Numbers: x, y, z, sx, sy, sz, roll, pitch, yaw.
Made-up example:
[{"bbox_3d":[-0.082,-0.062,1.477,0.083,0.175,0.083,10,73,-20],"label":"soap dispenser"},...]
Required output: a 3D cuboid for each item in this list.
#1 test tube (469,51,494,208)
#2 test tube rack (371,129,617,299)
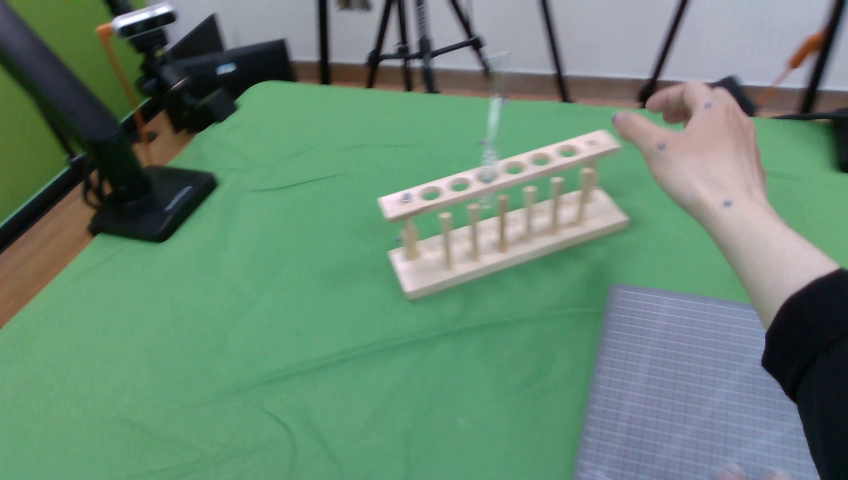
[{"bbox_3d":[0.055,-0.106,0.590,0.017,0.151,0.017,3,14,0],"label":"test tube"},{"bbox_3d":[0.076,-0.028,0.618,0.243,0.086,0.066,-18,44,-10],"label":"test tube rack"}]
